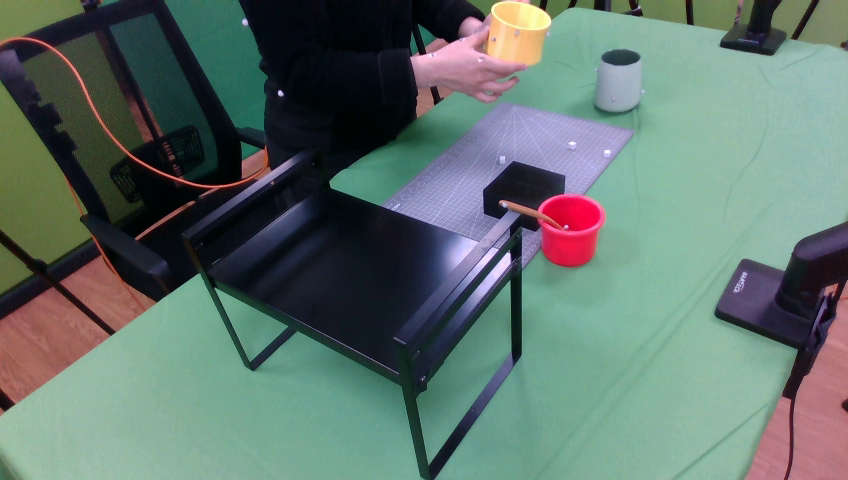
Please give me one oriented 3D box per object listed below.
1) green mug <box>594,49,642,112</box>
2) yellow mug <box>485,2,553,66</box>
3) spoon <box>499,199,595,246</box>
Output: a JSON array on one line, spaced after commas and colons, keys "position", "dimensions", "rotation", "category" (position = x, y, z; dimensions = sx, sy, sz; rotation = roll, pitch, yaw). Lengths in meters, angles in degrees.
[{"position": [0.397, -0.333, 1.240], "dimensions": [0.092, 0.105, 0.125], "rotation": [-3, 41, 7], "category": "green mug"}, {"position": [0.159, -0.354, 1.017], "dimensions": [0.100, 0.064, 0.130], "rotation": [10, 43, -2], "category": "yellow mug"}, {"position": [0.183, -0.028, 0.888], "dimensions": [0.195, 0.021, 0.041], "rotation": [23, 23, -33], "category": "spoon"}]
